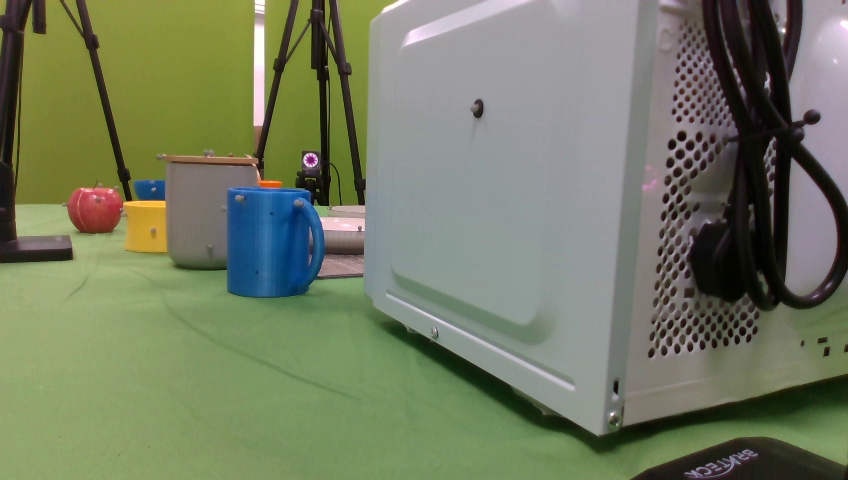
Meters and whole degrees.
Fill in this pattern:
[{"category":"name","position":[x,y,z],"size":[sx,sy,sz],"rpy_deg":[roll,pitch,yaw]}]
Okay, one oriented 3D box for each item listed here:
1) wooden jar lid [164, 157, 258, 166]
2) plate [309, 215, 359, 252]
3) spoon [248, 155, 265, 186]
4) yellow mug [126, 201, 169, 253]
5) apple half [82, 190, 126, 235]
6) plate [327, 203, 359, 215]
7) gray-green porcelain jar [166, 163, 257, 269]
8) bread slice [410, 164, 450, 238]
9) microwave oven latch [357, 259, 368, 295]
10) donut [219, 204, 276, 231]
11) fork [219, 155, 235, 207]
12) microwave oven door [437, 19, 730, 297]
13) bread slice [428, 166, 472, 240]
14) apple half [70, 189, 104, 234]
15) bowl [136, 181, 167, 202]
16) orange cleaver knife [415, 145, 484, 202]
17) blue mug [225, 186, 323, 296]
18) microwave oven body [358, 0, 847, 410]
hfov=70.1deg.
[{"category":"wooden jar lid","position":[-0.261,-0.093,0.746],"size":[0.108,0.020,0.108],"rpy_deg":[0,9,0]},{"category":"plate","position":[-0.130,-0.011,0.945],"size":[0.208,0.039,0.207],"rpy_deg":[2,7,0]},{"category":"spoon","position":[-0.417,-0.150,1.543],"size":[0.042,0.193,0.021],"rpy_deg":[-3,-35,-34]},{"category":"yellow mug","position":[-0.361,-0.019,0.866],"size":[0.130,0.064,0.100],"rpy_deg":[7,9,27]},{"category":"apple half","position":[-0.516,-0.046,0.994],"size":[0.032,0.081,0.081],"rpy_deg":[0,6,26]},{"category":"plate","position":[-0.102,-0.053,1.299],"size":[0.209,0.038,0.209],"rpy_deg":[2,8,0]},{"category":"gray-green porcelain jar","position":[-0.263,-0.031,0.754],"size":[0.106,0.126,0.106],"rpy_deg":[2,7,0]},{"category":"bread slice","position":[0.014,-0.070,1.100],"size":[0.018,0.134,0.107],"rpy_deg":[2,0,36]},{"category":"microwave oven latch","position":[-0.019,0.031,0.529],"size":[0.079,0.029,0.030],"rpy_deg":[-1,7,-26]},{"category":"donut","position":[-0.316,-0.039,1.083],"size":[0.099,0.048,0.099],"rpy_deg":[2,7,0]},{"category":"fork","position":[-0.459,-0.134,1.415],"size":[0.028,0.018,0.207],"rpy_deg":[-1,-34,-24]},{"category":"microwave oven door","position":[0.181,-0.076,0.618],"size":[0.358,0.243,0.039],"rpy_deg":[-2,9,-28]},{"category":"bread slice","position":[0.048,-0.064,1.058],"size":[0.019,0.131,0.105],"rpy_deg":[9,9,40]},{"category":"apple half","position":[-0.552,-0.048,1.010],"size":[0.053,0.074,0.081],"rpy_deg":[-1,9,26]},{"category":"bowl","position":[-0.497,-0.076,1.221],"size":[0.151,0.077,0.151],"rpy_deg":[2,8,0]},{"category":"orange cleaver knife","position":[0.051,-0.113,1.128],"size":[0.012,0.077,0.212],"rpy_deg":[4,-9,38]},{"category":"blue mug","position":[-0.148,0.000,0.618],"size":[0.116,0.106,0.083],"rpy_deg":[7,9,33]},{"category":"microwave oven body","position":[0.210,-0.051,0.471],"size":[0.444,0.260,0.324],"rpy_deg":[-1,7,-28]}]
